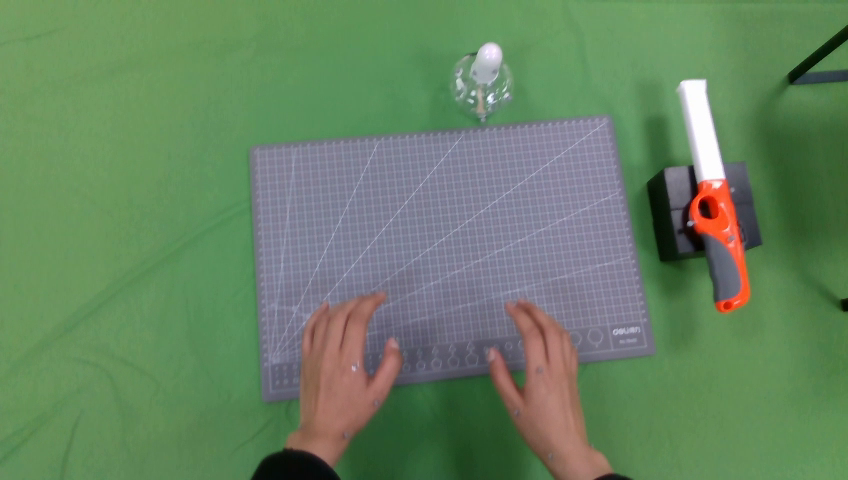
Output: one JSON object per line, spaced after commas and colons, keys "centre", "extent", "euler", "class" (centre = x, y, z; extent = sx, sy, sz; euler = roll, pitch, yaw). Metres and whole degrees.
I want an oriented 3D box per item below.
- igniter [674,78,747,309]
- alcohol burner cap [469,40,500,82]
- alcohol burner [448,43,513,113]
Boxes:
{"centre": [0.325, -0.059, 0.690], "extent": [0.057, 0.025, 0.275], "euler": [-3, 75, -3], "class": "igniter"}
{"centre": [0.069, -0.203, 0.679], "extent": [0.034, 0.048, 0.033], "euler": [1, 76, -4], "class": "alcohol burner cap"}
{"centre": [0.069, -0.197, 0.709], "extent": [0.078, 0.119, 0.077], "euler": [1, 78, -5], "class": "alcohol burner"}
